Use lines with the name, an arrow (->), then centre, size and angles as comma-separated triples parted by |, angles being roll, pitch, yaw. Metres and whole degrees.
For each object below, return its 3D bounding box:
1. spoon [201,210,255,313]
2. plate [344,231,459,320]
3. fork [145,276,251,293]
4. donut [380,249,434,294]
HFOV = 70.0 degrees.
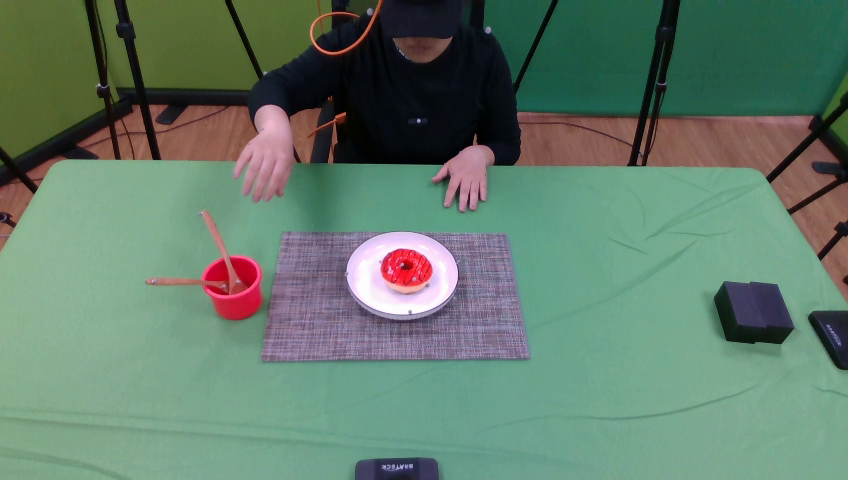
spoon -> -0.343, 0.037, 1.052 | 0.041, 0.021, 0.194 | -23, 96, -32
plate -> -0.042, 0.068, 1.115 | 0.209, 0.038, 0.208 | 2, 46, -2
fork -> -0.368, 0.073, 1.006 | 0.018, 0.208, 0.028 | -24, 72, 23
donut -> -0.032, 0.056, 1.111 | 0.099, 0.048, 0.098 | 3, 43, -3
